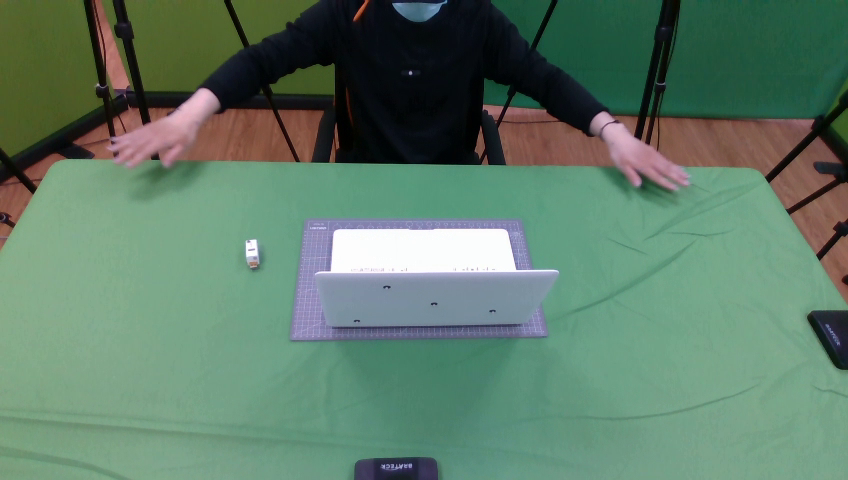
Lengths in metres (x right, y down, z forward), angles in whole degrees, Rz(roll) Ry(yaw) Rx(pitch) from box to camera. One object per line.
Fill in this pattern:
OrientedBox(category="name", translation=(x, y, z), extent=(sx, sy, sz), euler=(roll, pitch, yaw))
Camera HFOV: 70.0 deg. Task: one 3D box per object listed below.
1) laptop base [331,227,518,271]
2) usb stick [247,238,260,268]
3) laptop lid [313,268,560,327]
OrientedBox(category="laptop base", translation=(0.003, 0.062, 1.135), extent=(0.355, 0.023, 0.234), euler=(0, 43, -4))
OrientedBox(category="usb stick", translation=(-0.322, 0.026, 1.144), extent=(0.021, 0.027, 0.059), euler=(-7, 50, -12))
OrientedBox(category="laptop lid", translation=(0.015, 0.095, 0.949), extent=(0.357, 0.242, 0.013), euler=(0, 64, -5))
